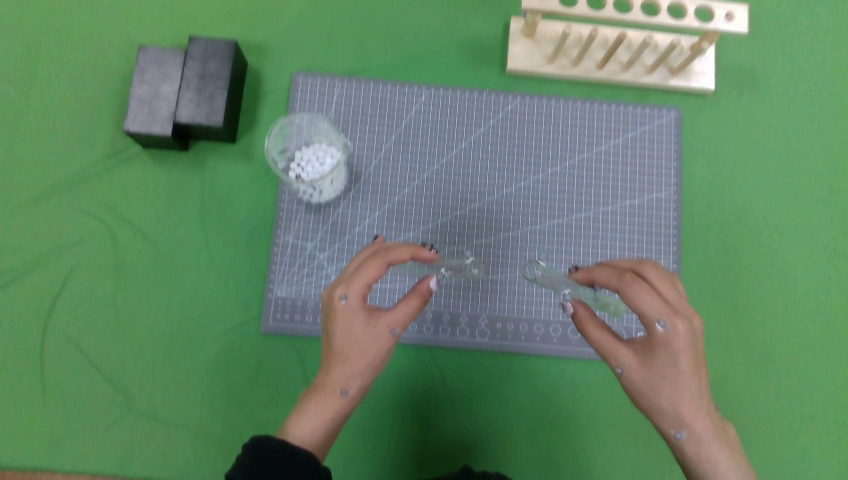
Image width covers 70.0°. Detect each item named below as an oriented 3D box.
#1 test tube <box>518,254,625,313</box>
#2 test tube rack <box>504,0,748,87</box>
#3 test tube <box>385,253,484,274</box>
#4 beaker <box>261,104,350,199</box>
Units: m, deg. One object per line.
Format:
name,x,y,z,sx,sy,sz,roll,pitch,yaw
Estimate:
test tube,0.119,0.036,0.467,0.017,0.152,0.017,-16,64,38
test tube rack,0.218,-0.231,0.673,0.242,0.085,0.066,5,80,-2
test tube,0.003,0.019,0.506,0.017,0.149,0.017,0,89,-28
beaker,-0.115,-0.086,0.622,0.084,0.100,0.073,-3,81,-4
